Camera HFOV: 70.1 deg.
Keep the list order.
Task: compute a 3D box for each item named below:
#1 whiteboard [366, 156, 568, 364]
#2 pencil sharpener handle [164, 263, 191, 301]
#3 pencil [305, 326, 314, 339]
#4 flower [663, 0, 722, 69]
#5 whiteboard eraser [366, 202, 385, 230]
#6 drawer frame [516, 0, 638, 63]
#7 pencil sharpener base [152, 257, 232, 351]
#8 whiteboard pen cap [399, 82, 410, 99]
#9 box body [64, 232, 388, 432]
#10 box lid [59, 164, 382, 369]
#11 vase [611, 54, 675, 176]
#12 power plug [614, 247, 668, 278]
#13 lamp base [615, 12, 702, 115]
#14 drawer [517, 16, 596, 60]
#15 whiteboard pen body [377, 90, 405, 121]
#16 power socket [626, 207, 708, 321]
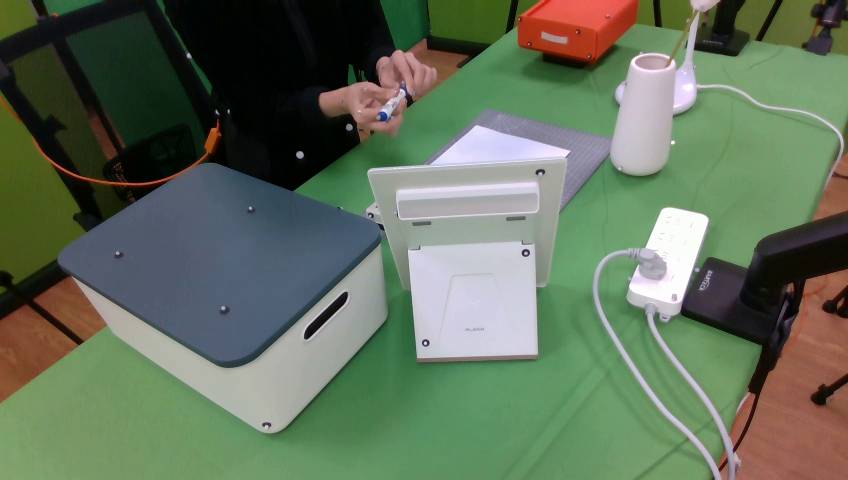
[{"bbox_3d":[0.059,0.050,0.738,0.217,0.307,0.143,-2,60,6],"label":"whiteboard"},{"bbox_3d":[-0.354,0.055,0.866,0.036,0.068,0.030,-17,39,-29],"label":"pencil sharpener handle"},{"bbox_3d":[-0.187,0.106,0.880,0.012,0.012,0.192,-27,41,-22],"label":"pencil"},{"bbox_3d":[0.379,-0.261,0.965,0.044,0.362,0.038,20,52,4],"label":"flower"},{"bbox_3d":[-0.038,-0.038,1.006,0.112,0.042,0.055,16,47,25],"label":"whiteboard eraser"},{"bbox_3d":[0.355,-0.508,1.411,0.200,0.083,0.214,23,51,32],"label":"drawer frame"},{"bbox_3d":[-0.322,0.088,0.841,0.061,0.107,0.076,-27,44,-20],"label":"pencil sharpener base"},{"bbox_3d":[-0.033,-0.244,0.991,0.018,0.018,0.033,-1,38,7],"label":"whiteboard pen cap"},{"bbox_3d":[-0.256,0.065,0.827,0.361,0.161,0.255,20,48,29],"label":"box body"},{"bbox_3d":[-0.263,0.010,0.777,0.368,0.015,0.264,20,47,29],"label":"box lid"},{"bbox_3d":[0.377,-0.209,1.031,0.098,0.201,0.097,-3,40,3],"label":"vase"},{"bbox_3d":[0.306,0.031,0.851,0.072,0.053,0.035,24,49,33],"label":"power plug"},{"bbox_3d":[0.484,-0.364,1.211,0.180,0.181,0.159,-15,41,-14],"label":"lamp base"},{"bbox_3d":[0.352,-0.506,1.405,0.193,0.073,0.212,23,49,32],"label":"drawer"},{"bbox_3d":[-0.047,-0.214,0.940,0.017,0.017,0.140,4,31,13],"label":"whiteboard pen body"},{"bbox_3d":[0.359,0.025,0.886,0.072,0.033,0.227,16,46,26],"label":"power socket"}]
